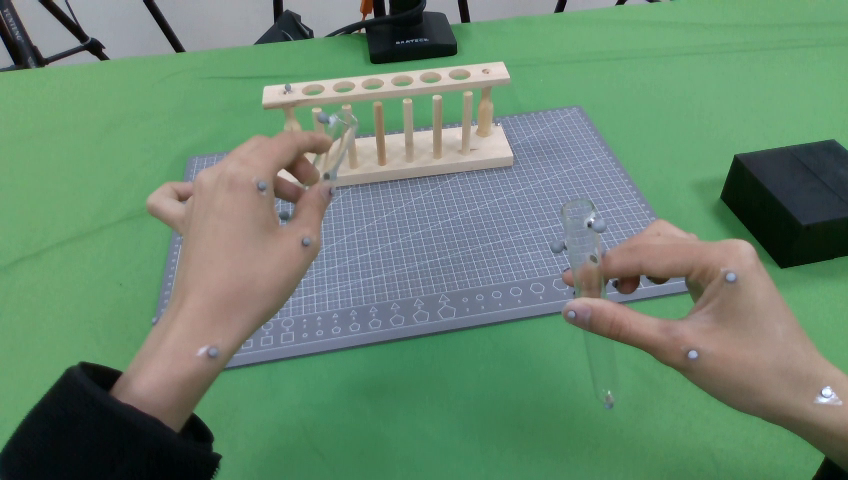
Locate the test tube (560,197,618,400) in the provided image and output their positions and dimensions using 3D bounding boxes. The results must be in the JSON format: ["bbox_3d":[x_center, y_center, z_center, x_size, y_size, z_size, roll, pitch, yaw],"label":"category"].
[{"bbox_3d":[0.090,0.039,0.321,0.017,0.152,0.017,-12,40,11],"label":"test tube"}]

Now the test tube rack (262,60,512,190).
[{"bbox_3d":[-0.034,-0.117,0.617,0.242,0.086,0.066,-7,44,-4],"label":"test tube rack"}]

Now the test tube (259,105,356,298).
[{"bbox_3d":[-0.076,-0.018,0.379,0.017,0.151,0.017,21,33,-14],"label":"test tube"}]
